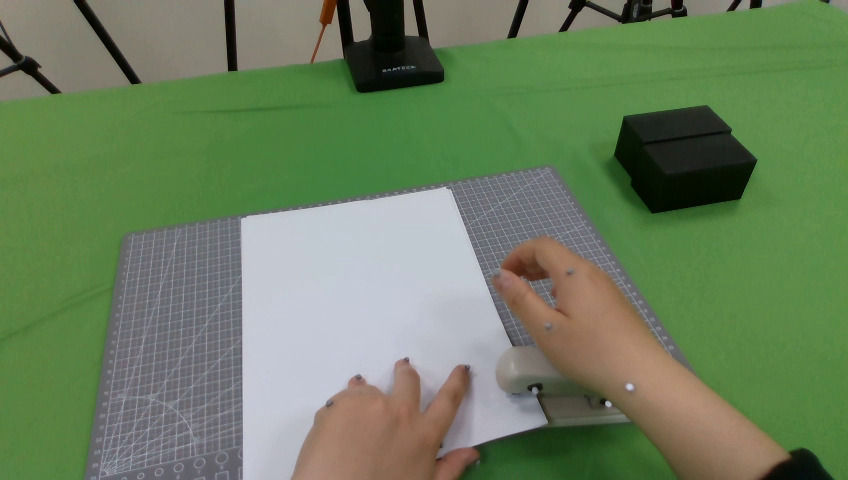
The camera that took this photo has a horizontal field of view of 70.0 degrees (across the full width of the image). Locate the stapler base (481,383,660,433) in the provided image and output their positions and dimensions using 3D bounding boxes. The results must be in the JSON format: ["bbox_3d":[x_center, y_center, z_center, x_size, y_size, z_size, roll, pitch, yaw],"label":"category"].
[{"bbox_3d":[0.109,0.115,0.447,0.131,0.024,0.041,-2,46,-5],"label":"stapler base"}]

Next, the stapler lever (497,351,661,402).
[{"bbox_3d":[0.111,0.097,0.430,0.118,0.040,0.026,-2,46,-5],"label":"stapler lever"}]
